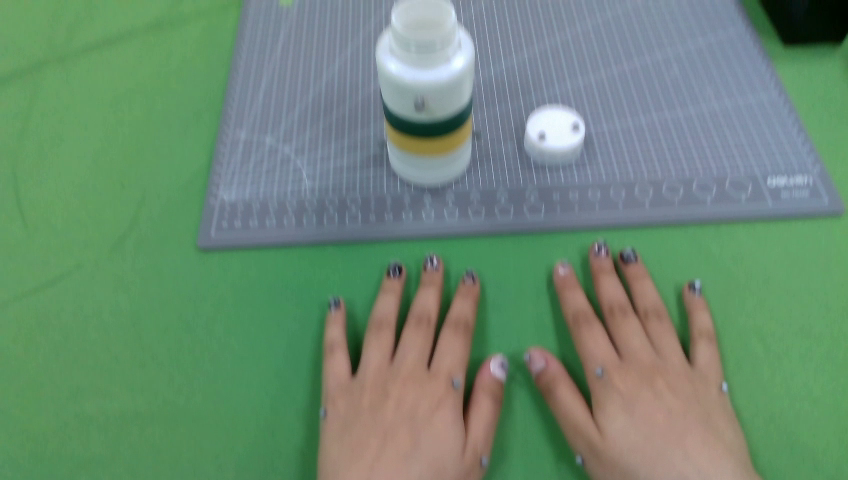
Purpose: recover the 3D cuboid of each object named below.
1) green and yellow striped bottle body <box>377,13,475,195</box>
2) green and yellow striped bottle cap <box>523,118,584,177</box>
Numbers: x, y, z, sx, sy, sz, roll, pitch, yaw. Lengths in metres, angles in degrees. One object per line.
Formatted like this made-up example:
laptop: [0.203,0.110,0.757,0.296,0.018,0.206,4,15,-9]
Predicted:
green and yellow striped bottle body: [0.002,-0.091,0.410,0.063,0.121,0.062,-1,56,2]
green and yellow striped bottle cap: [0.098,-0.071,0.458,0.045,0.020,0.045,0,57,1]
